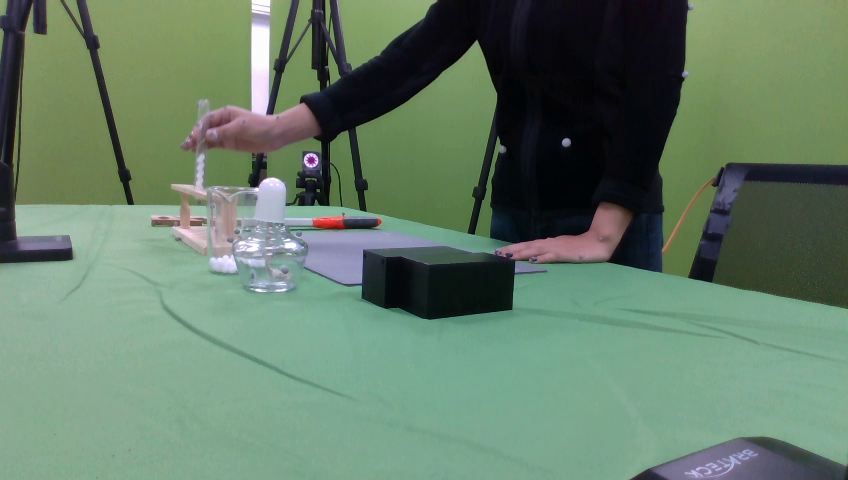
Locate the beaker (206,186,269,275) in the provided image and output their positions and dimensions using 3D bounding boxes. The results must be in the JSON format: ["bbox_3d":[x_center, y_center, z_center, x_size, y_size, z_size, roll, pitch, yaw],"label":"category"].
[{"bbox_3d":[-0.220,-0.011,0.717,0.074,0.100,0.084,2,8,-3],"label":"beaker"}]

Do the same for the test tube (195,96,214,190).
[{"bbox_3d":[-0.329,-0.141,0.903,0.017,0.150,0.017,4,-2,0],"label":"test tube"}]

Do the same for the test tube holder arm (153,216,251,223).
[{"bbox_3d":[-0.422,-0.039,1.159,0.179,0.015,0.013,-2,44,-31],"label":"test tube holder arm"}]

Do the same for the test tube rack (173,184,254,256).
[{"bbox_3d":[-0.328,-0.036,0.927,0.067,0.085,0.241,-2,9,-32],"label":"test tube rack"}]

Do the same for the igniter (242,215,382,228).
[{"bbox_3d":[-0.213,-0.036,1.187,0.278,0.025,0.057,-2,-1,-31],"label":"igniter"}]

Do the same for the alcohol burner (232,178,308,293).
[{"bbox_3d":[-0.161,-0.006,0.632,0.078,0.119,0.078,1,9,0],"label":"alcohol burner"}]

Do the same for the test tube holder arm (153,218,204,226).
[{"bbox_3d":[-0.459,-0.034,1.132,0.088,0.015,0.010,-1,43,-30],"label":"test tube holder arm"}]

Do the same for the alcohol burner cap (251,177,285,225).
[{"bbox_3d":[-0.160,-0.041,0.628,0.034,0.048,0.034,9,6,-1],"label":"alcohol burner cap"}]
